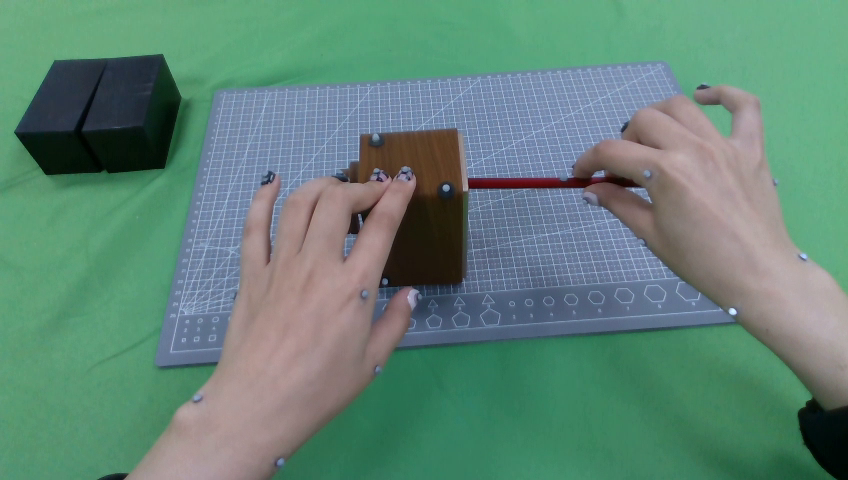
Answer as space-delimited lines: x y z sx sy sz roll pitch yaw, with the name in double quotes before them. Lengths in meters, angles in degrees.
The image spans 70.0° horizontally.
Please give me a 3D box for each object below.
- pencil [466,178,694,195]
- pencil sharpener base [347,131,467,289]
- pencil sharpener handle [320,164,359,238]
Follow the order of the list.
"pencil" 0.082 -0.035 0.405 0.194 0.012 0.012 -1 52 2
"pencil sharpener base" -0.010 -0.017 0.429 0.077 0.108 0.061 -3 52 1
"pencil sharpener handle" -0.062 -0.023 0.419 0.030 0.068 0.035 -3 55 1
